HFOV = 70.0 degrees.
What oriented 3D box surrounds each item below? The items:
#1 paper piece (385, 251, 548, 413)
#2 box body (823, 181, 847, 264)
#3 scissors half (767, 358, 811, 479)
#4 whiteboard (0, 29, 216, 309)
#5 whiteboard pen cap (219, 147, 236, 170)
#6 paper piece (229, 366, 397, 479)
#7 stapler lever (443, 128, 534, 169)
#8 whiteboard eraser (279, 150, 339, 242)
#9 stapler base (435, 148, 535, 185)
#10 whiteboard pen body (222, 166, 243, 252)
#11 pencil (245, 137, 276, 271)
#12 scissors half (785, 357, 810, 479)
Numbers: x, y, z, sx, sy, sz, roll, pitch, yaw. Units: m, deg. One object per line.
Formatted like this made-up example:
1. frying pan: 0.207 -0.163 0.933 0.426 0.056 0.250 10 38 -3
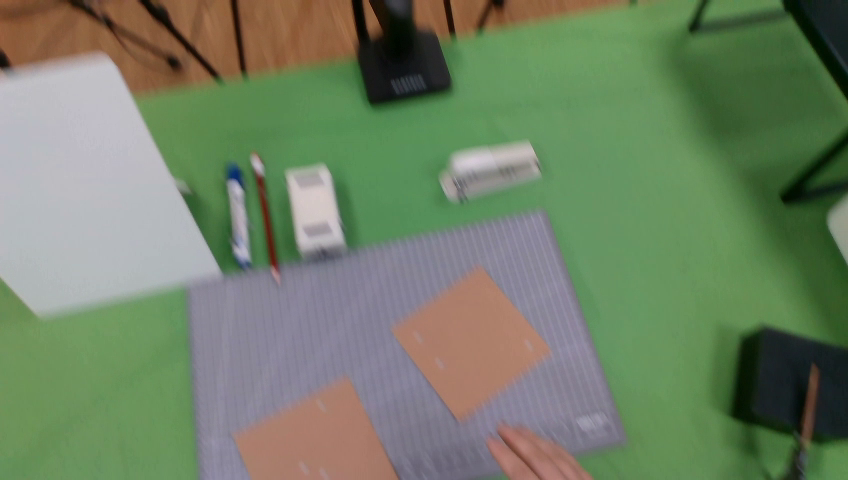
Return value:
1. paper piece: 0.047 0.102 0.694 0.136 0.009 0.137 -35 73 -10
2. box body: 0.641 0.053 0.637 0.254 0.161 0.361 -12 68 -5
3. scissors half: 0.373 0.205 0.618 0.013 0.040 0.175 15 88 5
4. whiteboard: -0.379 -0.095 0.649 0.217 0.308 0.142 -12 48 -5
5. whiteboard pen cap: -0.251 -0.102 0.775 0.018 0.018 0.033 -13 66 -6
6. paper piece: -0.118 0.223 0.641 0.135 0.004 0.134 -26 70 -12
7. stapler lever: 0.081 -0.118 0.756 0.118 0.040 0.026 -18 70 -8
8. whiteboard eraser: -0.142 -0.053 0.743 0.055 0.042 0.112 -13 68 -5
9. stapler base: 0.079 -0.107 0.778 0.131 0.024 0.041 -17 71 -10
10. whiteboard pen body: -0.240 -0.049 0.754 0.017 0.017 0.139 -11 67 -5
11. pencil: -0.204 -0.048 0.757 0.012 0.012 0.192 -15 68 -6
12. scissors half: 0.372 0.200 0.598 0.013 0.040 0.174 13 71 11
